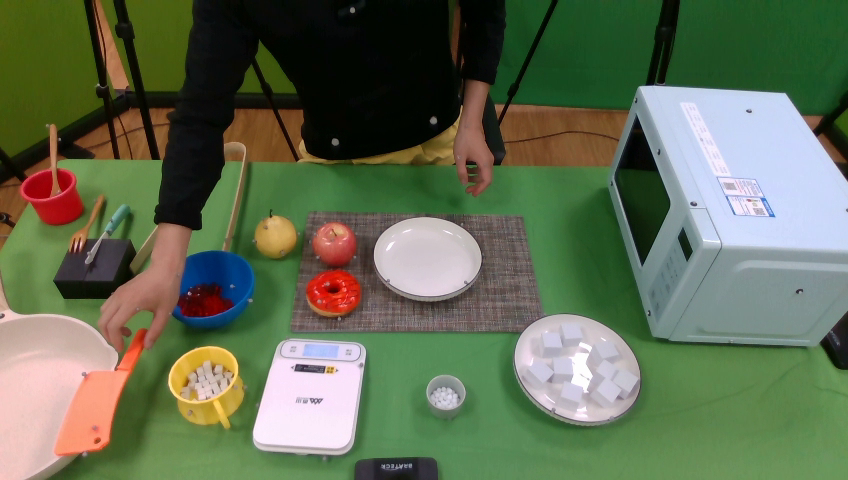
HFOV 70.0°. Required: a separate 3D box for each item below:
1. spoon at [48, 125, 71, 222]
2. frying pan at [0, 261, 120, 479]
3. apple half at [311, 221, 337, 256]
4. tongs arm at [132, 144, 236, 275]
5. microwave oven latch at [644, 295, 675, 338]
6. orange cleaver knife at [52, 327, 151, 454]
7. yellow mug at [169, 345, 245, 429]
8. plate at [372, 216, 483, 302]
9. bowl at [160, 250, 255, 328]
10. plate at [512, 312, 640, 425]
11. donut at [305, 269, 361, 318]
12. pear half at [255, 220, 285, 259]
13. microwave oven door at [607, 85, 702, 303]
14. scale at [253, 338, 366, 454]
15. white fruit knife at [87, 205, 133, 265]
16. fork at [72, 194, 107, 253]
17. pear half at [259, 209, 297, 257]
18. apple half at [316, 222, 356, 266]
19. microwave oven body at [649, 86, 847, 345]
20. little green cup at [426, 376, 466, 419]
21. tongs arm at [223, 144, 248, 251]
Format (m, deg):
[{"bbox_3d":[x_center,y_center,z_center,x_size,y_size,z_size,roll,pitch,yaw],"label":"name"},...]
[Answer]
[{"bbox_3d":[-0.718,-0.131,1.188,0.042,0.021,0.193,-3,90,-7],"label":"spoon"},{"bbox_3d":[-0.647,0.164,0.936,0.307,0.103,0.485,-19,58,-22],"label":"frying pan"},{"bbox_3d":[-0.190,-0.001,1.143,0.032,0.081,0.081,28,51,18],"label":"apple half"},{"bbox_3d":[-0.483,-0.076,1.237,0.028,0.028,0.385,5,45,13],"label":"tongs arm"},{"bbox_3d":[0.410,0.133,1.062,0.030,0.029,0.078,1,45,-2],"label":"microwave oven latch"},{"bbox_3d":[-0.462,0.212,0.879,0.077,0.012,0.210,7,45,-2],"label":"orange cleaver knife"},{"bbox_3d":[-0.322,0.230,0.922,0.100,0.064,0.130,-24,53,-25],"label":"yellow mug"},{"bbox_3d":[0.006,0.038,1.145,0.209,0.038,0.208,2,46,-2],"label":"plate"},{"bbox_3d":[-0.362,0.098,1.039,0.151,0.077,0.150,2,45,-2],"label":"bowl"},{"bbox_3d":[0.246,0.213,0.999,0.208,0.039,0.206,2,46,-2],"label":"plate"},{"bbox_3d":[-0.160,0.094,1.075,0.099,0.048,0.098,4,46,-3],"label":"donut"},{"bbox_3d":[-0.293,0.003,1.127,0.070,0.088,0.031,25,49,16],"label":"pear half"},{"bbox_3d":[0.423,-0.094,1.140,0.039,0.245,0.353,2,46,-1],"label":"microwave oven door"},{"bbox_3d":[-0.175,0.236,0.951,0.149,0.032,0.199,4,45,0],"label":"scale"},{"bbox_3d":[-0.584,-0.013,1.129,0.016,0.027,0.206,0,31,-5],"label":"white fruit knife"},{"bbox_3d":[-0.634,-0.035,1.158,0.028,0.019,0.206,-8,32,-9],"label":"fork"},{"bbox_3d":[-0.273,-0.025,1.141,0.076,0.110,0.056,28,51,16],"label":"pear half"},{"bbox_3d":[-0.157,0.015,1.132,0.053,0.075,0.080,28,47,18],"label":"apple half"},{"bbox_3d":[0.567,-0.053,1.118,0.326,0.261,0.439,2,45,-1],"label":"microwave oven body"},{"bbox_3d":[0.033,0.248,0.950,0.061,0.039,0.061,2,46,-2],"label":"little green cup"},{"bbox_3d":[-0.398,-0.073,1.232,0.051,0.027,0.382,-3,45,1],"label":"tongs arm"}]
